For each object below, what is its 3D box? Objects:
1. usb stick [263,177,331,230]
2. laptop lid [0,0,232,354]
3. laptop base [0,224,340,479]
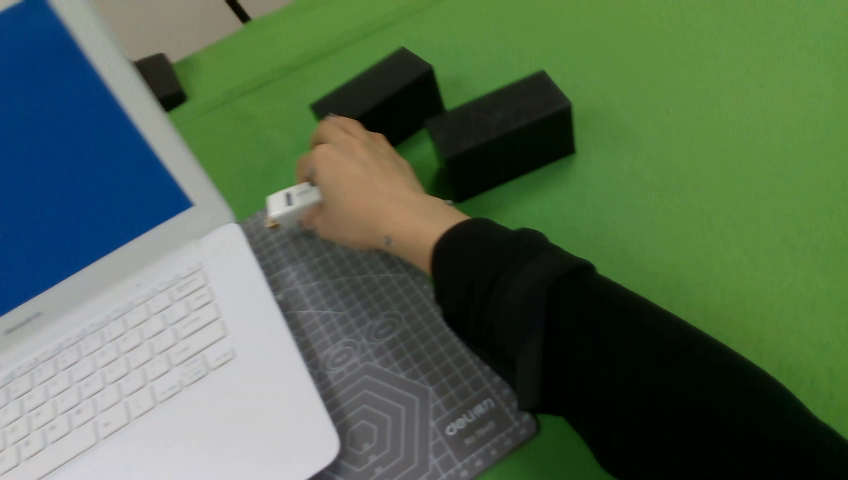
[{"bbox_3d":[-0.104,-0.025,0.470,0.059,0.027,0.021,-23,65,18],"label":"usb stick"},{"bbox_3d":[-0.347,-0.009,0.415,0.357,0.244,0.013,-33,35,-7],"label":"laptop lid"},{"bbox_3d":[-0.247,0.149,0.408,0.354,0.023,0.233,-32,53,-8],"label":"laptop base"}]
